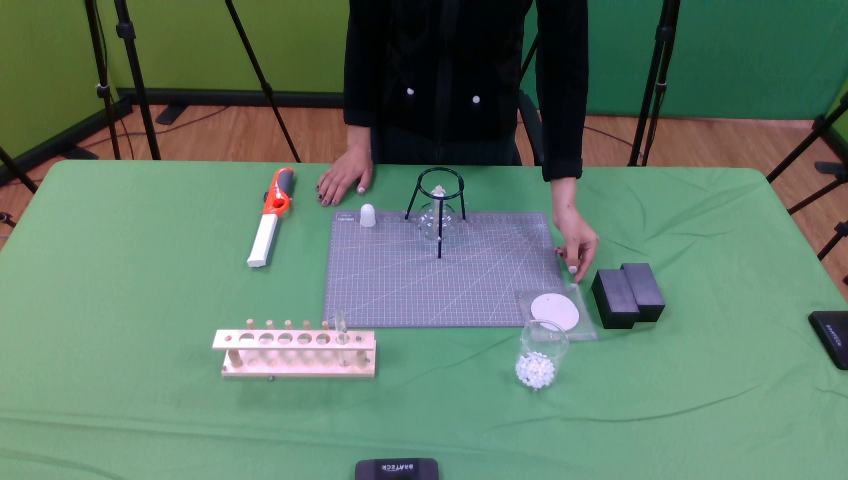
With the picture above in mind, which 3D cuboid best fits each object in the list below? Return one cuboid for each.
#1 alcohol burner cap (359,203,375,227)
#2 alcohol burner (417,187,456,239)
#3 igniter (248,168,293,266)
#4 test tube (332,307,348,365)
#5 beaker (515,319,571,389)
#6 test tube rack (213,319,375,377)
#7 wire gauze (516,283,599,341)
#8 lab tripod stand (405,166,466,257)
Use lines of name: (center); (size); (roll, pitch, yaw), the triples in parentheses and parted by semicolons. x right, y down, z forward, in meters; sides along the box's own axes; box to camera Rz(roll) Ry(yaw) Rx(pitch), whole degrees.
alcohol burner cap: (-0.115, -0.053, 1.224); (0.034, 0.048, 0.033); (3, 47, -3)
alcohol burner: (0.025, -0.059, 1.189); (0.078, 0.120, 0.077); (1, 48, -1)
igniter: (-0.307, -0.055, 1.225); (0.057, 0.025, 0.275); (-3, 46, 6)
test tube: (-0.128, 0.151, 0.931); (0.017, 0.151, 0.017); (1, 50, -2)
beaker: (0.186, 0.186, 0.980); (0.074, 0.101, 0.083); (-23, 51, -24)
test tube rack: (-0.202, 0.170, 0.977); (0.242, 0.085, 0.066); (1, 46, -3)
wire gauze: (0.240, 0.131, 1.094); (0.125, 0.011, 0.120); (-3, 47, -8)
lab tripod stand: (0.030, -0.063, 1.180); (0.148, 0.132, 0.147); (3, 47, -3)
